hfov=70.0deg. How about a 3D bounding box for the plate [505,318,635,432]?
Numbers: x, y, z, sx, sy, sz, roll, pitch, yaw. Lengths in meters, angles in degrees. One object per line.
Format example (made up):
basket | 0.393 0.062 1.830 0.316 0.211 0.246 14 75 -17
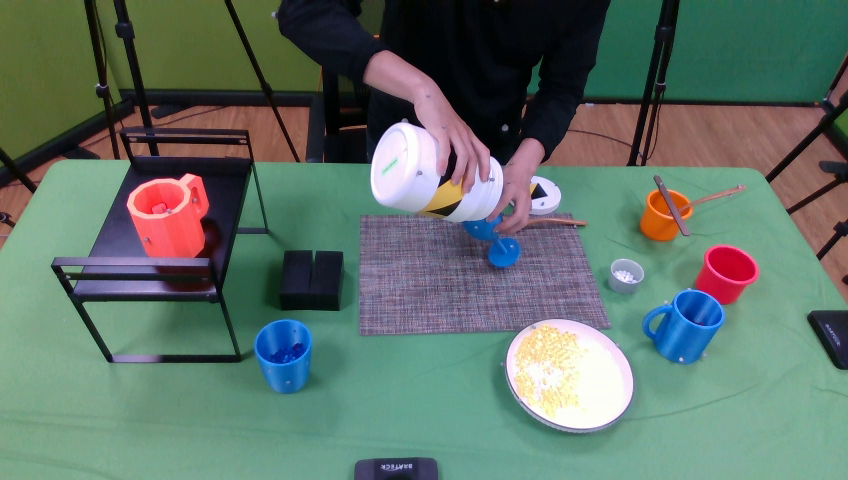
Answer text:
plate | 0.235 0.221 0.991 0.209 0.038 0.208 2 45 -2

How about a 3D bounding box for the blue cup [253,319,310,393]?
blue cup | -0.217 0.187 0.943 0.093 0.101 0.092 4 45 -3

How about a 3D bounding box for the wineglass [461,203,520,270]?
wineglass | 0.119 -0.019 1.094 0.073 0.173 0.073 -13 55 20

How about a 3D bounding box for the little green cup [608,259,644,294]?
little green cup | 0.379 0.070 1.147 0.061 0.039 0.061 3 45 -3

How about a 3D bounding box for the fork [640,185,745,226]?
fork | 0.534 -0.069 1.215 0.207 0.019 0.028 -26 27 33

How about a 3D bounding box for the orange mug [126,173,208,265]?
orange mug | -0.371 -0.039 0.902 0.083 0.101 0.126 18 52 13

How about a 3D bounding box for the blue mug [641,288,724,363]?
blue mug | 0.432 0.144 1.033 0.116 0.106 0.082 9 46 5

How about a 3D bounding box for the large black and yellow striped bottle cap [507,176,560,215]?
large black and yellow striped bottle cap | 0.237 -0.098 1.312 0.115 0.019 0.114 2 43 -1

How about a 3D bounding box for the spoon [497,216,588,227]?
spoon | 0.246 -0.039 1.247 0.194 0.022 0.041 -2 24 -6

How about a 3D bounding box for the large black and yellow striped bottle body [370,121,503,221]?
large black and yellow striped bottle body | 0.022 -0.101 0.956 0.185 0.131 0.130 11 39 -32

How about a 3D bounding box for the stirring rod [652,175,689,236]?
stirring rod | 0.491 -0.072 1.211 0.014 0.006 0.175 0 46 -6
